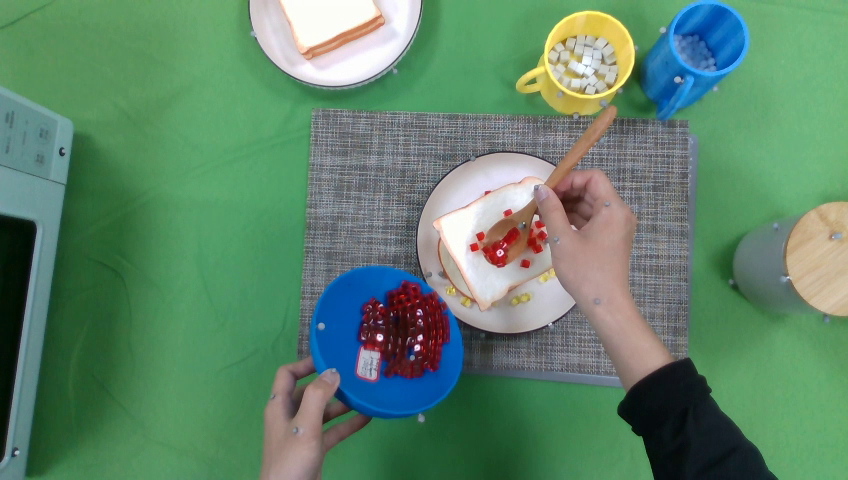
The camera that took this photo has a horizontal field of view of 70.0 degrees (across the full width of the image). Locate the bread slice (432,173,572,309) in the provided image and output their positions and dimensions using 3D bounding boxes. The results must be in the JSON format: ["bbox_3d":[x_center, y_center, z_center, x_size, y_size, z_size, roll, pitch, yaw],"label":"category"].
[{"bbox_3d":[0.087,-0.009,0.635,0.134,0.018,0.107,-32,92,-8],"label":"bread slice"}]

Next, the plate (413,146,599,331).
[{"bbox_3d":[0.092,-0.002,0.693,0.209,0.038,0.208,0,85,2],"label":"plate"}]

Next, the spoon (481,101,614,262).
[{"bbox_3d":[0.110,-0.048,0.553,0.041,0.022,0.194,49,132,17],"label":"spoon"}]

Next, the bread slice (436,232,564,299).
[{"bbox_3d":[0.082,0.007,0.696,0.131,0.019,0.104,-29,83,-2],"label":"bread slice"}]

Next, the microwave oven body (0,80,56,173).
[{"bbox_3d":[-0.607,0.036,0.608,0.326,0.260,0.441,5,86,3],"label":"microwave oven body"}]

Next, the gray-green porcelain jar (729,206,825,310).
[{"bbox_3d":[0.395,0.021,0.639,0.106,0.127,0.105,0,85,2],"label":"gray-green porcelain jar"}]

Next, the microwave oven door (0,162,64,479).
[{"bbox_3d":[-0.467,0.091,0.593,0.039,0.244,0.355,5,85,3],"label":"microwave oven door"}]

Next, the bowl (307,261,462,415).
[{"bbox_3d":[-0.047,0.104,0.585,0.152,0.077,0.150,16,52,-20],"label":"bowl"}]

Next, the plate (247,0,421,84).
[{"bbox_3d":[-0.106,-0.286,0.729,0.207,0.039,0.207,0,85,3],"label":"plate"}]

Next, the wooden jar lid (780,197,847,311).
[{"bbox_3d":[0.391,0.014,0.576,0.108,0.021,0.108,0,88,1],"label":"wooden jar lid"}]

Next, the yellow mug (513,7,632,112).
[{"bbox_3d":[0.166,-0.200,0.696,0.131,0.064,0.099,-18,84,2],"label":"yellow mug"}]

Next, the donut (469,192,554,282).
[{"bbox_3d":[0.096,-0.003,0.666,0.099,0.048,0.099,1,85,-15],"label":"donut"}]

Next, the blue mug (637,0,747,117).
[{"bbox_3d":[0.285,-0.191,0.671,0.082,0.106,0.116,24,87,5],"label":"blue mug"}]

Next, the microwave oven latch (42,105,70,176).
[{"bbox_3d":[-0.439,-0.117,0.710,0.030,0.029,0.079,8,86,3],"label":"microwave oven latch"}]
